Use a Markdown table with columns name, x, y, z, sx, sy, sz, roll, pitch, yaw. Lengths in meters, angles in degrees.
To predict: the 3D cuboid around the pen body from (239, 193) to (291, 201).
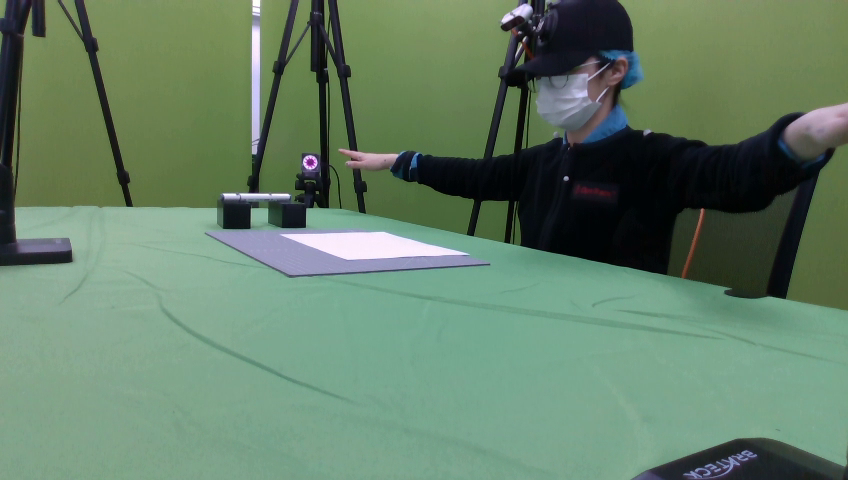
| name | x | y | z | sx | sy | sz | roll | pitch | yaw |
| --- | --- | --- | --- | --- | --- | --- | --- | --- | --- |
| pen body | -0.337 | -0.089 | 1.236 | 0.145 | 0.017 | 0.017 | -5 | 10 | -43 |

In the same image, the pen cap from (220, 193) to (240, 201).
| name | x | y | z | sx | sy | sz | roll | pitch | yaw |
| --- | --- | --- | --- | --- | --- | --- | --- | --- | --- |
| pen cap | -0.383 | -0.085 | 1.194 | 0.039 | 0.017 | 0.017 | -5 | 10 | -44 |
